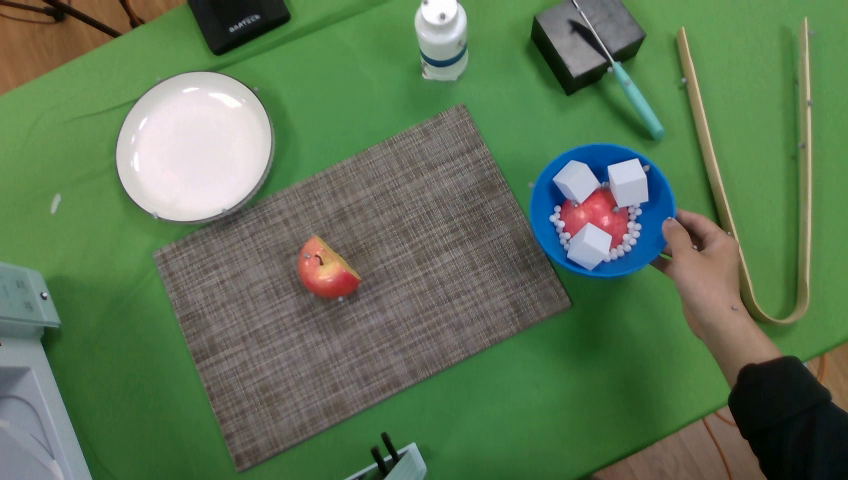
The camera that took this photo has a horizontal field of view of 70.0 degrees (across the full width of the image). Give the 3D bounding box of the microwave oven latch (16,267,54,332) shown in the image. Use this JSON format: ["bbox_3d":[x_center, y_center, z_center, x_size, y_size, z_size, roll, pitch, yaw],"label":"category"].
[{"bbox_3d":[-0.491,0.074,0.750,0.030,0.029,0.079,-28,79,-2],"label":"microwave oven latch"}]

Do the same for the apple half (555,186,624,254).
[{"bbox_3d":[0.187,-0.025,0.669,0.081,0.033,0.081,-1,75,6],"label":"apple half"}]

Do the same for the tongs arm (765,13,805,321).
[{"bbox_3d":[0.437,-0.094,0.737,0.051,0.026,0.383,3,80,5],"label":"tongs arm"}]

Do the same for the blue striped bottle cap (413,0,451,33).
[{"bbox_3d":[0.009,-0.266,0.705,0.044,0.021,0.044,0,81,3],"label":"blue striped bottle cap"}]

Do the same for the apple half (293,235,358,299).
[{"bbox_3d":[-0.125,0.040,0.728,0.080,0.075,0.053,43,90,7],"label":"apple half"}]

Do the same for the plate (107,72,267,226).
[{"bbox_3d":[-0.305,-0.116,0.794,0.207,0.039,0.206,-1,79,3],"label":"plate"}]

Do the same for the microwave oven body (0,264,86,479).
[{"bbox_3d":[-0.546,0.276,0.616,0.326,0.261,0.439,-28,79,-2],"label":"microwave oven body"}]

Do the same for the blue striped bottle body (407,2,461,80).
[{"bbox_3d":[0.013,-0.254,0.755,0.063,0.121,0.063,-1,78,4],"label":"blue striped bottle body"}]

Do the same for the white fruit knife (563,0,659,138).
[{"bbox_3d":[0.229,-0.213,0.749,0.016,0.027,0.208,-35,95,14],"label":"white fruit knife"}]

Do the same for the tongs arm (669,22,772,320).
[{"bbox_3d":[0.355,-0.090,0.745,0.028,0.028,0.385,-10,79,-1],"label":"tongs arm"}]

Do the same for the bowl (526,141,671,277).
[{"bbox_3d":[0.187,-0.025,0.674,0.151,0.077,0.150,-2,75,6],"label":"bowl"}]

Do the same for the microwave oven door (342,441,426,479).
[{"bbox_3d":[-0.170,0.307,0.579,0.356,0.245,0.039,-28,77,-2],"label":"microwave oven door"}]
